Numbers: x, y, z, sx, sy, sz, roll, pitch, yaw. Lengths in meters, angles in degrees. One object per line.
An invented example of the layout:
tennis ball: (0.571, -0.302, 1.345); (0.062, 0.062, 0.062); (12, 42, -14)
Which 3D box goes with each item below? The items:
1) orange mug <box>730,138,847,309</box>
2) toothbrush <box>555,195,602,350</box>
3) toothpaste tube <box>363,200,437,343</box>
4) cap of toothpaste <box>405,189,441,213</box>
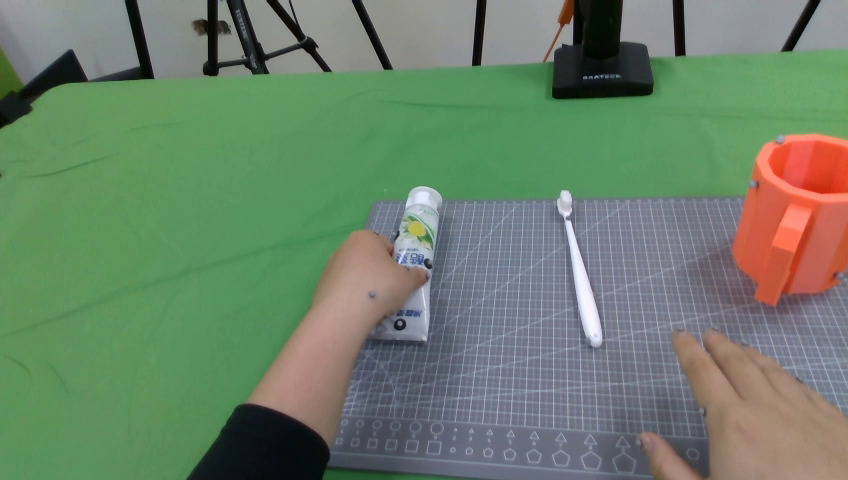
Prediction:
orange mug: (0.289, -0.008, 0.471); (0.083, 0.102, 0.126); (22, 46, 31)
toothbrush: (0.135, 0.021, 0.532); (0.014, 0.017, 0.180); (7, 43, -5)
toothpaste tube: (-0.015, 0.023, 0.552); (0.055, 0.035, 0.163); (-2, 47, 14)
cap of toothpaste: (-0.001, -0.035, 0.602); (0.037, 0.038, 0.011); (0, 48, 11)
